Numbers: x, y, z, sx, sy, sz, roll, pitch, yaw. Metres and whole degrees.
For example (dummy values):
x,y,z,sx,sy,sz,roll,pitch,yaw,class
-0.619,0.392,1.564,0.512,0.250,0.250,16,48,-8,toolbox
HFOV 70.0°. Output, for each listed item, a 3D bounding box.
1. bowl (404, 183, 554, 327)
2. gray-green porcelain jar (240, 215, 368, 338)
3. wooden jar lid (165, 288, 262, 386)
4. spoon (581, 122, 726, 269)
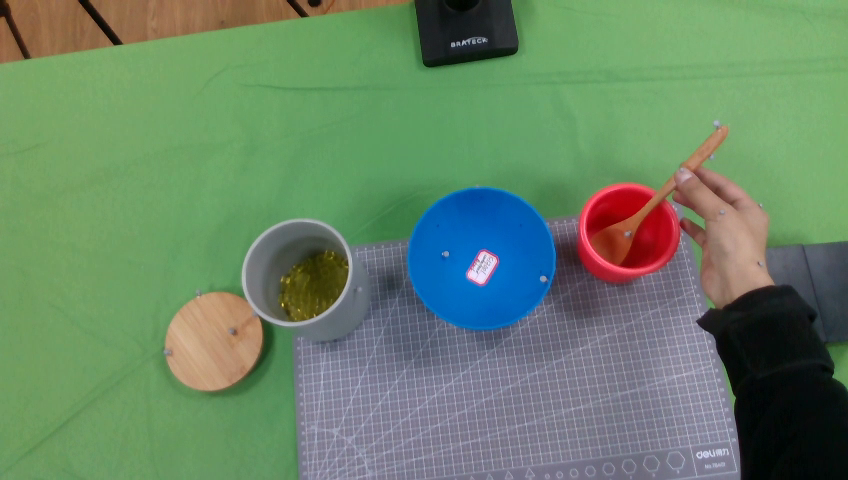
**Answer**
x,y,z,sx,sy,sz,roll,pitch,yaw,class
0.057,0.023,0.641,0.151,0.077,0.150,-1,74,4,bowl
-0.115,0.044,0.622,0.106,0.127,0.105,-1,74,4,gray-green porcelain jar
-0.231,0.108,0.671,0.108,0.021,0.108,-1,74,5,wooden jar lid
0.229,-0.040,0.611,0.041,0.022,0.194,47,126,15,spoon
